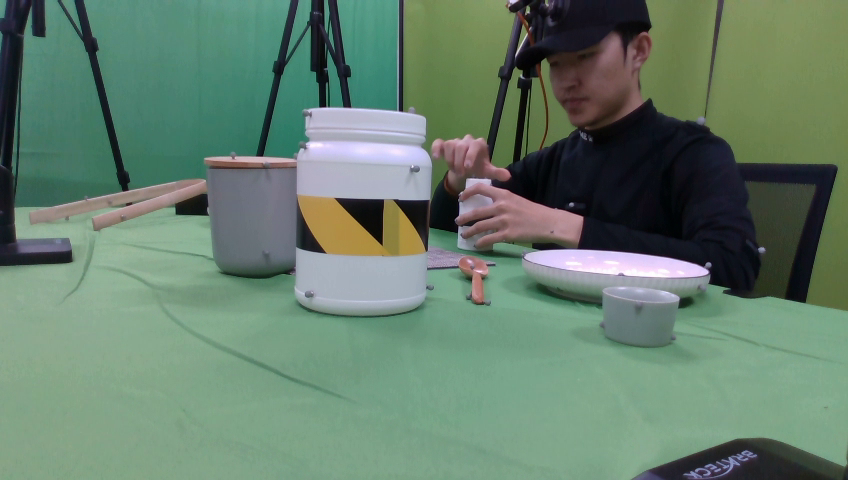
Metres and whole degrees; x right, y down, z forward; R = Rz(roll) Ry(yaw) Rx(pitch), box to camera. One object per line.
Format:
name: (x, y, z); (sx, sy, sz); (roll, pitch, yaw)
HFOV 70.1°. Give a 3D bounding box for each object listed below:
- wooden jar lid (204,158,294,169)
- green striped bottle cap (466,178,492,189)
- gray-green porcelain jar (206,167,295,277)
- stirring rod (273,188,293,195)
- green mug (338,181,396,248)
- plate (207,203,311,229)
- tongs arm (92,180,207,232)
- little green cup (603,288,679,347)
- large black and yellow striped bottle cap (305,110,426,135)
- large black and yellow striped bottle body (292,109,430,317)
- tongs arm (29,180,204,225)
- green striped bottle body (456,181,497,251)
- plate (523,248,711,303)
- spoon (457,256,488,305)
wooden jar lid: (-0.202, -0.086, 0.714); (0.108, 0.020, 0.108); (3, 11, 0)
green striped bottle cap: (0.093, -0.095, 1.018); (0.044, 0.020, 0.044); (0, 9, 0)
gray-green porcelain jar: (-0.201, -0.024, 0.724); (0.106, 0.126, 0.106); (-1, 9, 1)
stirring rod: (-0.353, -0.122, 1.518); (0.006, 0.014, 0.176); (2, 7, 2)
green mug: (-0.097, -0.044, 0.995); (0.093, 0.105, 0.125); (-1, 8, -21)
plate: (-0.342, -0.050, 1.259); (0.208, 0.039, 0.207); (3, 7, 0)
tongs arm: (-0.534, -0.076, 1.221); (0.028, 0.028, 0.388); (-2, 15, 12)
little green cup: (0.180, 0.064, 0.505); (0.061, 0.038, 0.061); (2, 6, 0)
large black and yellow striped bottle cap: (-0.055, -0.110, 0.574); (0.115, 0.019, 0.115); (1, 7, 0)
large black and yellow striped bottle body: (-0.060, -0.028, 0.585); (0.131, 0.184, 0.130); (3, 7, 0)
tongs arm: (-0.609, -0.083, 1.245); (0.050, 0.026, 0.386); (5, 16, 23)
green striped bottle body: (0.090, -0.044, 1.023); (0.063, 0.119, 0.063); (4, 8, 0)
plate: (0.219, 0.041, 0.706); (0.209, 0.038, 0.209); (2, 7, 0)
spoon: (0.059, 0.044, 0.696); (0.041, 0.021, 0.193); (22, 7, 0)
